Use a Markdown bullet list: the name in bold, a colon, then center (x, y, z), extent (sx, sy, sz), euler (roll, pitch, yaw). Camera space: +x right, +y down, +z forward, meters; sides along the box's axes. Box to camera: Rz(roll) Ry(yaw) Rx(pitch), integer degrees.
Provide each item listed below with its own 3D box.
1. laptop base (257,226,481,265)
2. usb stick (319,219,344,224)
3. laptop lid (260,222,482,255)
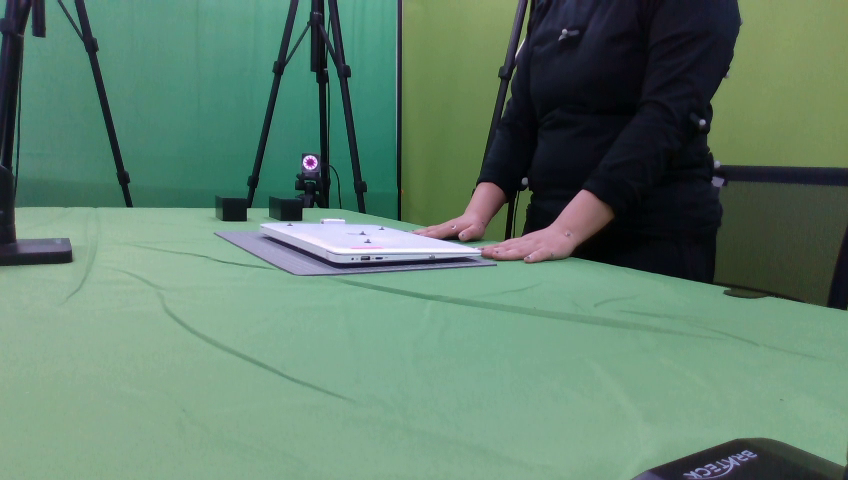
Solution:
- **laptop base**: center (-0.102, 0.007, 0.962), extent (0.237, 0.023, 0.352), euler (2, 6, -32)
- **usb stick**: center (-0.184, -0.027, 1.153), extent (0.059, 0.027, 0.021), euler (-5, 14, -31)
- **laptop lid**: center (-0.100, -0.005, 0.962), extent (0.243, 0.013, 0.355), euler (1, 7, -30)
